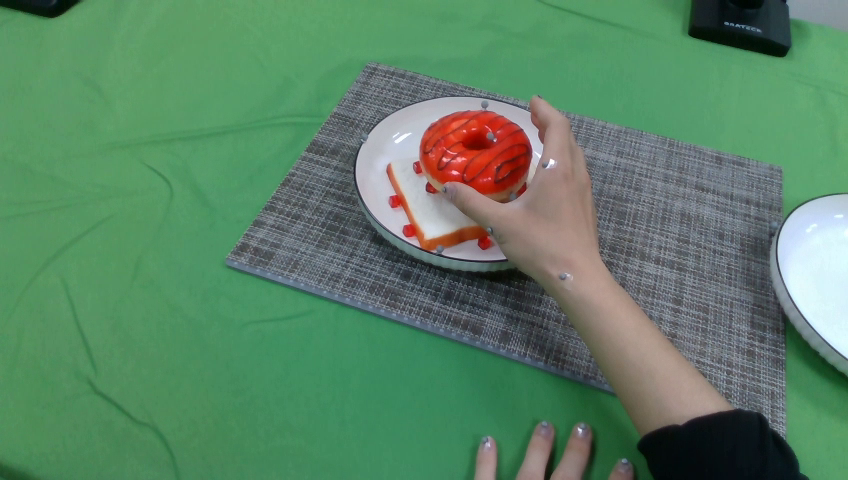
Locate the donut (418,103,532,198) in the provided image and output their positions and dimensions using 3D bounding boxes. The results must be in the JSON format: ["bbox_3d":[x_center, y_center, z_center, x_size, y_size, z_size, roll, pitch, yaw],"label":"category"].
[{"bbox_3d":[0.043,-0.078,0.519,0.099,0.048,0.098,3,52,-3],"label":"donut"}]

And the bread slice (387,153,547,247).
[{"bbox_3d":[0.043,-0.051,0.547,0.132,0.019,0.104,-17,56,-14],"label":"bread slice"}]

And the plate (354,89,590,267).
[{"bbox_3d":[0.041,-0.057,0.547,0.209,0.038,0.207,2,52,-2],"label":"plate"}]

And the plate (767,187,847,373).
[{"bbox_3d":[0.384,0.045,0.496,0.208,0.039,0.205,2,52,-2],"label":"plate"}]
